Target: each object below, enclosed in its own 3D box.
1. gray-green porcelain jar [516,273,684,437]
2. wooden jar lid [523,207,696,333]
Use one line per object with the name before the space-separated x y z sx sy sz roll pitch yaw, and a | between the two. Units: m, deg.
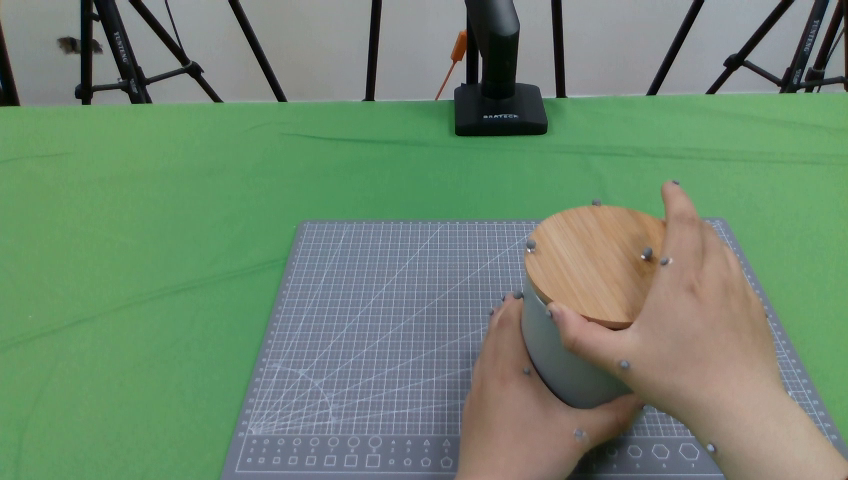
gray-green porcelain jar | 0.121 0.072 0.440 0.106 0.127 0.105 -1 41 2
wooden jar lid | 0.118 0.019 0.394 0.108 0.021 0.107 -3 41 3
